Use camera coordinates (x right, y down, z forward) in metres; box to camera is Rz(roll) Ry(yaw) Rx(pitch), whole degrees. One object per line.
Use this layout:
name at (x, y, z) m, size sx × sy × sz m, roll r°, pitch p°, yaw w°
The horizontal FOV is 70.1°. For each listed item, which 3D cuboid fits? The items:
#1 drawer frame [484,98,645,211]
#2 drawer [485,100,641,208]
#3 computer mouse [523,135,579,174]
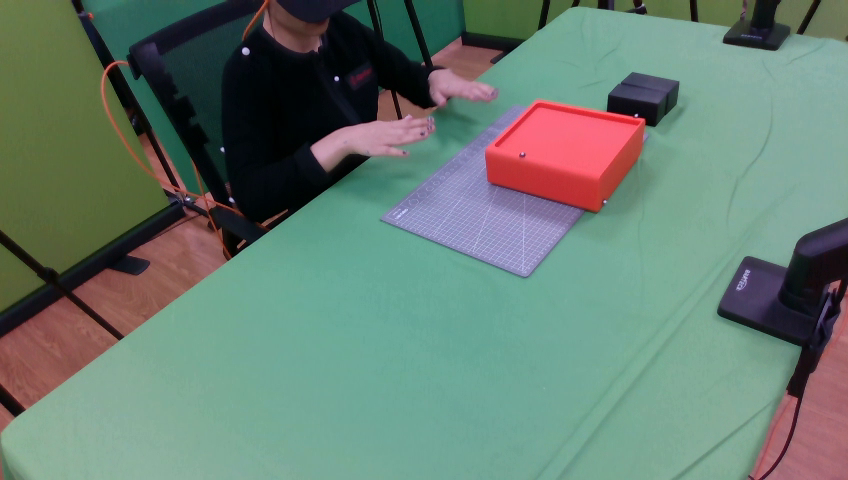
drawer frame at (0.248, -0.158, 1.070) m, size 0.212 × 0.083 × 0.202 m, roll 20°, pitch 47°, yaw 29°
drawer at (0.246, -0.158, 1.073) m, size 0.210 × 0.073 × 0.195 m, roll 20°, pitch 48°, yaw 30°
computer mouse at (0.232, -0.163, 1.100) m, size 0.062 × 0.041 × 0.117 m, roll 19°, pitch 41°, yaw 34°
